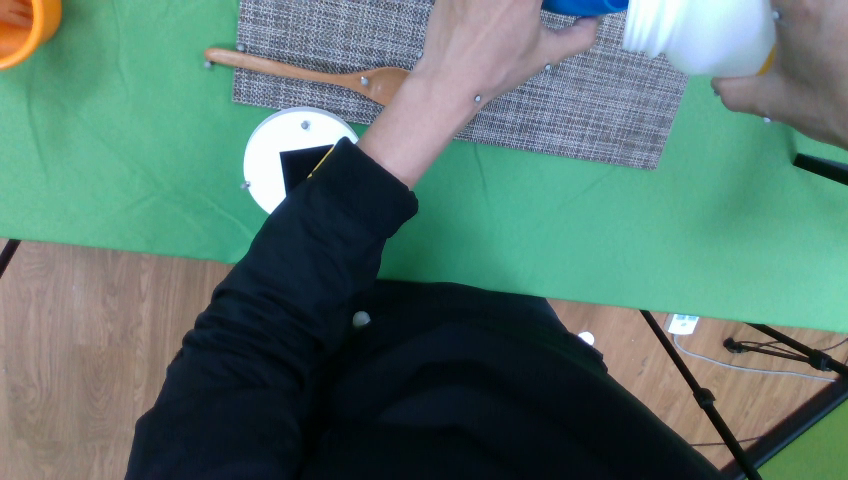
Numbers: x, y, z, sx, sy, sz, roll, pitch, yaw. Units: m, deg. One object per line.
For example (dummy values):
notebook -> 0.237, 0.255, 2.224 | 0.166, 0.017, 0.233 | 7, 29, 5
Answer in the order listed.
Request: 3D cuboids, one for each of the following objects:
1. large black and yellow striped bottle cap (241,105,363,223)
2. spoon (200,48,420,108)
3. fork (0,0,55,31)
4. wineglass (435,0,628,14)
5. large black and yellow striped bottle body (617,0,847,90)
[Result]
large black and yellow striped bottle cap -> -0.116, -0.071, 0.580 | 0.115, 0.018, 0.116 | -6, 119, -11
spoon -> -0.098, -0.149, 0.541 | 0.194, 0.021, 0.042 | 5, 135, -17
fork -> -0.352, -0.175, 0.396 | 0.028, 0.018, 0.208 | -57, 157, 19
wineglass -> 0.075, -0.210, 0.458 | 0.074, 0.170, 0.074 | -18, 118, -35
large black and yellow striped bottle body -> 0.214, -0.157, 0.348 | 0.183, 0.130, 0.131 | 9, 114, 12
